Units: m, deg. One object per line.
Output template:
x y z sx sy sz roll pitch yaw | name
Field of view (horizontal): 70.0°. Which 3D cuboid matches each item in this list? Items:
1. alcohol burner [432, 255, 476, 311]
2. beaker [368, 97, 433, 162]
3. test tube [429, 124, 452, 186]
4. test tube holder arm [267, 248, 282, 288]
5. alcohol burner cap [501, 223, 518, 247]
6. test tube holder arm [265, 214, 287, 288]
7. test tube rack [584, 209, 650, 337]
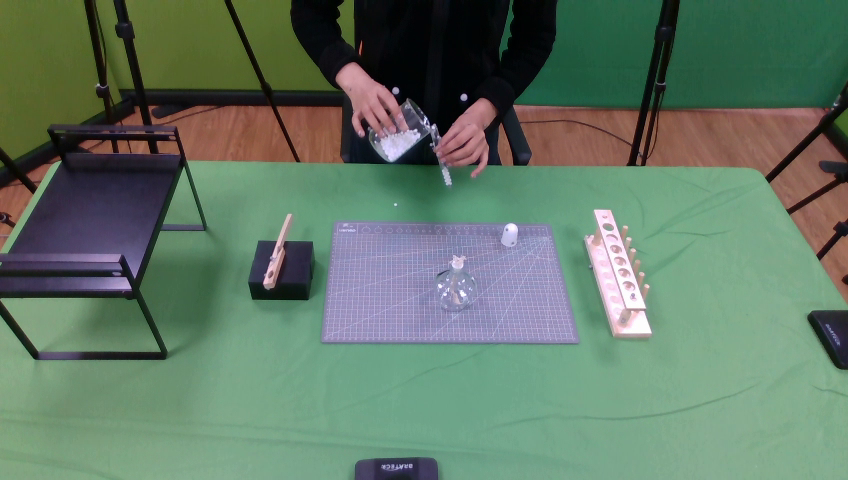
0.055 0.070 1.068 0.078 0.119 0.077 3 45 -3 | alcohol burner
-0.043 -0.194 1.091 0.100 0.084 0.073 -37 56 17 | beaker
0.032 -0.160 1.167 0.017 0.151 0.017 -9 48 10 | test tube
-0.262 0.048 1.068 0.010 0.015 0.087 4 45 -3 | test tube holder arm
0.172 -0.013 1.206 0.034 0.048 0.033 2 45 -1 | alcohol burner cap
-0.268 0.016 1.099 0.013 0.015 0.177 2 45 -4 | test tube holder arm
0.365 0.056 1.129 0.067 0.085 0.240 1 46 -4 | test tube rack
